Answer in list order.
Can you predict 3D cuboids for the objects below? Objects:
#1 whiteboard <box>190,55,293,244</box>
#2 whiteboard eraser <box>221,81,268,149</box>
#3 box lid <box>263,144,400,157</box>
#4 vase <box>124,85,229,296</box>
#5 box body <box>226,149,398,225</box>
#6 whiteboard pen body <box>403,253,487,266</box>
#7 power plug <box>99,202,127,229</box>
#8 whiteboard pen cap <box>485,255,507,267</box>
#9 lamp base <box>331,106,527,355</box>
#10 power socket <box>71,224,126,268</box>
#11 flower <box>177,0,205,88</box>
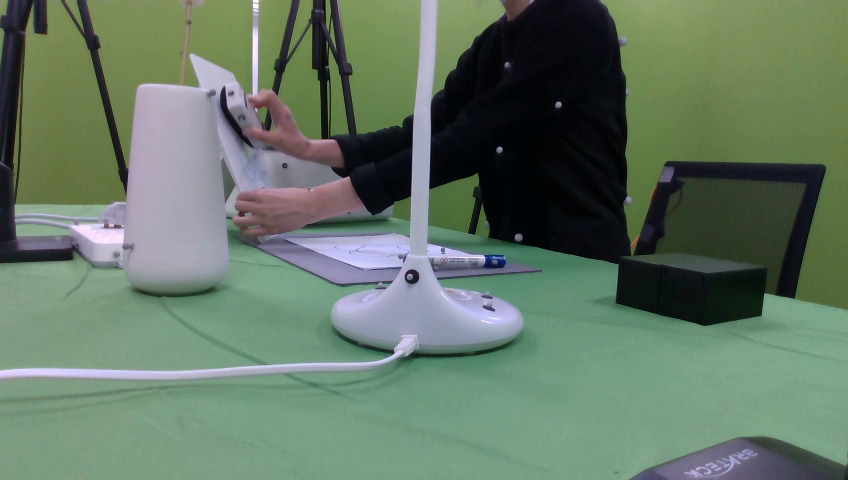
[{"bbox_3d":[-0.362,-0.129,1.028,0.144,0.305,0.217,-18,7,3],"label":"whiteboard"},{"bbox_3d":[-0.298,-0.206,1.004,0.042,0.055,0.113,-20,-31,0],"label":"whiteboard eraser"},{"bbox_3d":[-0.263,-0.203,1.369,0.262,0.015,0.373,9,10,39],"label":"box lid"},{"bbox_3d":[-0.244,-0.047,0.598,0.098,0.200,0.098,3,8,0],"label":"vase"},{"bbox_3d":[-0.265,-0.129,1.380,0.253,0.160,0.366,8,9,39],"label":"box body"},{"bbox_3d":[0.039,0.026,0.785,0.141,0.017,0.017,2,7,-24],"label":"whiteboard pen body"},{"bbox_3d":[-0.415,-0.026,0.848,0.073,0.052,0.035,6,5,-28],"label":"power plug"},{"bbox_3d":[0.093,0.028,0.809,0.033,0.018,0.018,0,8,-24],"label":"whiteboard pen cap"},{"bbox_3d":[0.006,-0.012,0.478,0.161,0.180,0.179,2,10,2],"label":"lamp base"},{"bbox_3d":[-0.409,0.004,0.793,0.072,0.032,0.225,-2,8,-37],"label":"power socket"},{"bbox_3d":[-0.243,-0.130,0.609,0.044,0.361,0.038,-5,-12,12],"label":"flower"}]
